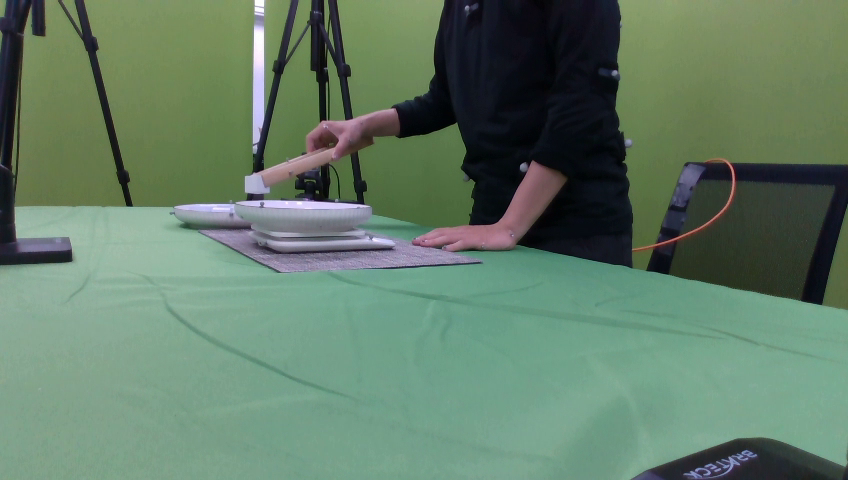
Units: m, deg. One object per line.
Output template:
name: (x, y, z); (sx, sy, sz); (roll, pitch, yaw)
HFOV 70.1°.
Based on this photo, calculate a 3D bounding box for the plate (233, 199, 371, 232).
plate: (-0.188, -0.039, 0.939); (0.209, 0.038, 0.209); (3, 7, 0)

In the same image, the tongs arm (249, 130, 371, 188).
tongs arm: (-0.224, -0.178, 1.281); (0.050, 0.026, 0.386); (-6, 18, 28)

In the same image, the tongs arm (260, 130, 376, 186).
tongs arm: (-0.205, -0.180, 1.270); (0.028, 0.028, 0.389); (-8, 16, 34)

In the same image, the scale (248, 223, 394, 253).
scale: (-0.162, -0.006, 0.954); (0.202, 0.031, 0.148); (-2, 8, -32)

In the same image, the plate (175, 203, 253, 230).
plate: (-0.381, -0.047, 1.199); (0.208, 0.039, 0.207); (3, 7, 0)
